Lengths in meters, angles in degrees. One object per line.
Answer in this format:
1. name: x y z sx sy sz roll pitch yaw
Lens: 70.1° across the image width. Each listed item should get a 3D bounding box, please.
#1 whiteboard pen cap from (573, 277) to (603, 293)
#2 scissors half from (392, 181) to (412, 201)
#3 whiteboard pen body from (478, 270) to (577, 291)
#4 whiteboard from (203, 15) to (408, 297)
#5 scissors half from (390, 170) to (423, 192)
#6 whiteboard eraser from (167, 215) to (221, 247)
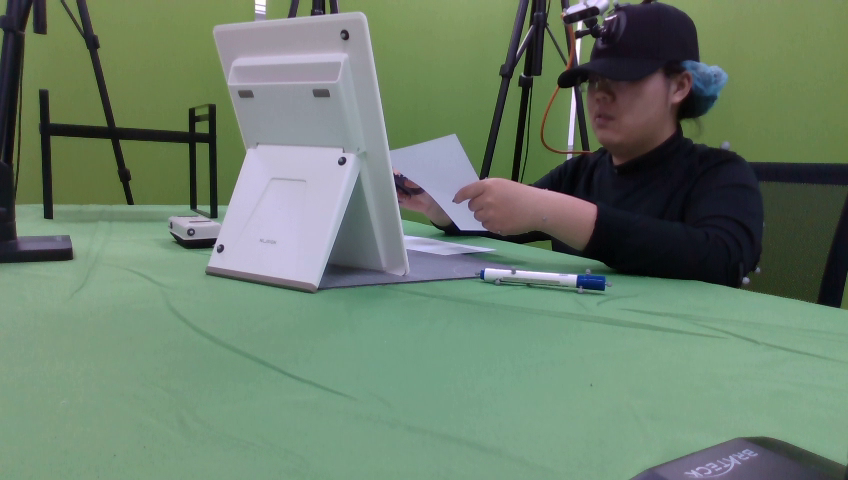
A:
1. whiteboard pen cap: 0.186 0.051 0.687 0.033 0.018 0.018 4 8 17
2. scissors half: -0.074 -0.099 0.987 0.176 0.040 0.013 32 22 -55
3. whiteboard pen body: 0.132 0.048 0.707 0.140 0.017 0.017 4 8 17
4. whiteboard: -0.166 -0.072 0.669 0.216 0.305 0.144 8 30 30
5. scissors half: -0.061 -0.111 0.980 0.040 0.012 0.176 -42 -33 26
6. whiteboard eraser: -0.350 -0.014 0.920 0.056 0.042 0.112 0 7 -35
